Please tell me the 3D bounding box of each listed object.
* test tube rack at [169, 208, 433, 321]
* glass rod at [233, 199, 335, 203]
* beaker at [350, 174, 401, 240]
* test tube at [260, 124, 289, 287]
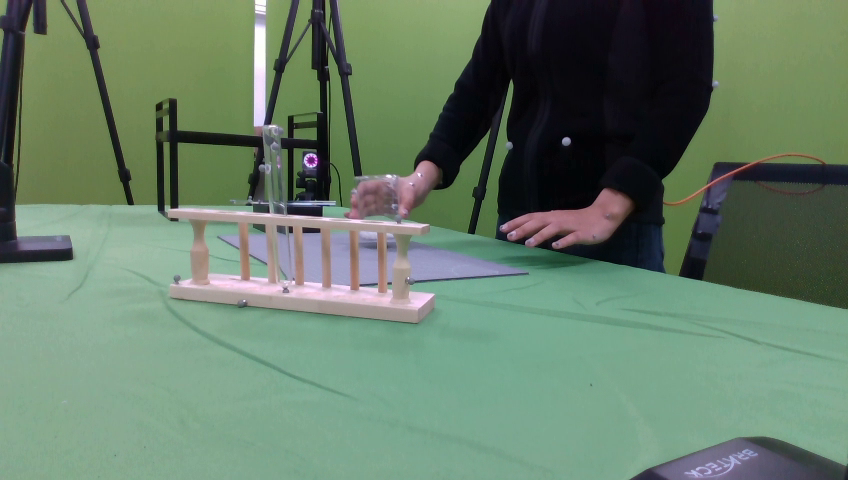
[{"bbox_3d":[-0.115,0.018,0.574,0.242,0.085,0.067,4,8,13],"label":"test tube rack"},{"bbox_3d":[-0.264,-0.076,1.160,0.201,0.008,0.008,-2,9,-31],"label":"glass rod"},{"bbox_3d":[-0.072,-0.053,0.956,0.074,0.100,0.083,-10,12,-36],"label":"beaker"},{"bbox_3d":[-0.137,-0.031,0.556,0.017,0.150,0.017,-3,6,1],"label":"test tube"}]
